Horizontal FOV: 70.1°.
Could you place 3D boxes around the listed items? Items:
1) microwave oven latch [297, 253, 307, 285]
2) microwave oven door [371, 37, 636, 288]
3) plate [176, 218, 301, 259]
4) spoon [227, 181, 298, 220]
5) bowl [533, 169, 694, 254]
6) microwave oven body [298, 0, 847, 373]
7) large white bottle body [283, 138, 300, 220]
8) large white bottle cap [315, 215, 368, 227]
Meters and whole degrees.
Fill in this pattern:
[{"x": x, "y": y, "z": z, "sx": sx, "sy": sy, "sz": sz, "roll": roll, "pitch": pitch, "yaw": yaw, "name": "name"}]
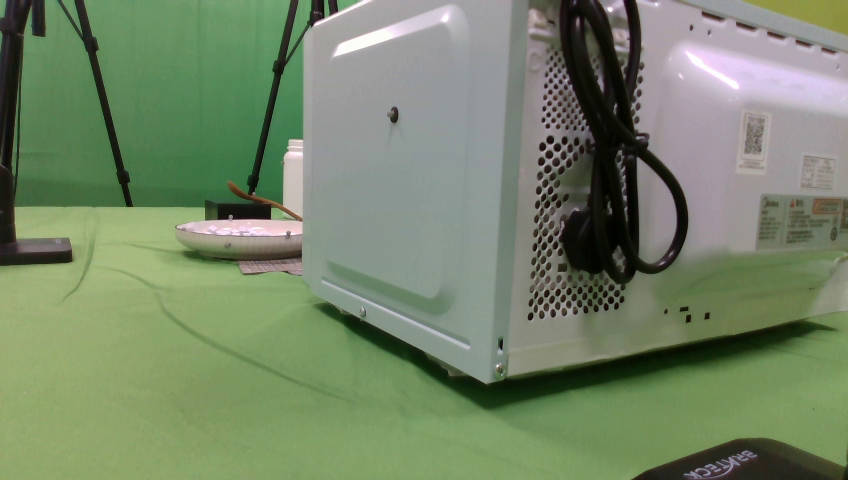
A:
[{"x": -0.082, "y": 0.027, "z": 0.582, "sx": 0.079, "sy": 0.029, "sz": 0.030, "roll": -1, "pitch": 7, "yaw": -33, "name": "microwave oven latch"}, {"x": 0.109, "y": -0.080, "z": 0.686, "sx": 0.358, "sy": 0.243, "sz": 0.039, "roll": -2, "pitch": 9, "yaw": -33, "name": "microwave oven door"}, {"x": -0.248, "y": -0.003, "z": 0.877, "sx": 0.209, "sy": 0.038, "sz": 0.209, "roll": 1, "pitch": 8, "yaw": 0, "name": "plate"}, {"x": -0.315, "y": -0.074, "z": 1.234, "sx": 0.195, "sy": 0.021, "sz": 0.041, "roll": 24, "pitch": -9, "yaw": -37, "name": "spoon"}, {"x": 0.181, "y": -0.030, "z": 0.596, "sx": 0.151, "sy": 0.077, "sz": 0.151, "roll": 1, "pitch": 7, "yaw": 0, "name": "bowl"}, {"x": 0.151, "y": -0.055, "z": 0.542, "sx": 0.444, "sy": 0.260, "sz": 0.324, "roll": -1, "pitch": 7, "yaw": -33, "name": "microwave oven body"}, {"x": -0.265, "y": -0.143, "z": 1.423, "sx": 0.131, "sy": 0.184, "sz": 0.130, "roll": 2, "pitch": 7, "yaw": 0, "name": "large white bottle body"}, {"x": -0.178, "y": -0.041, "z": 1.308, "sx": 0.115, "sy": 0.018, "sz": 0.115, "roll": 2, "pitch": 6, "yaw": 0, "name": "large white bottle cap"}]
